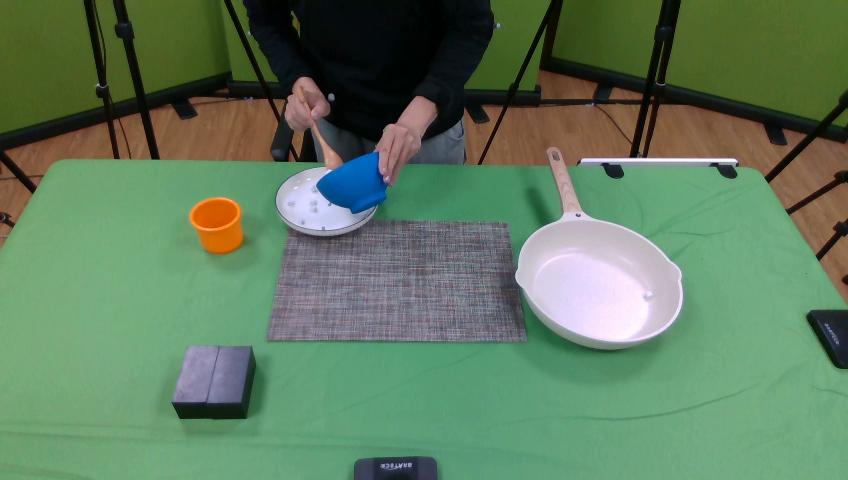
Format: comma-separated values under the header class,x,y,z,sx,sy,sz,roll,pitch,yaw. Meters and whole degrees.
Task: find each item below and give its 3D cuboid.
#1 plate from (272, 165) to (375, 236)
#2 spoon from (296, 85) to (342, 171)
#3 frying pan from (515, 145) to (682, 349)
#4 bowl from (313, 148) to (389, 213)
class,x,y,z,sx,sy,sz,roll,pitch,yaw
plate,-0.204,-0.076,1.240,0.208,0.039,0.206,3,44,-2
spoon,-0.208,-0.210,1.177,0.041,0.021,0.194,-29,95,-35
frying pan,0.303,-0.004,1.168,0.307,0.103,0.484,-2,55,-7
bowl,-0.123,-0.102,1.140,0.151,0.151,0.077,-27,88,-27
